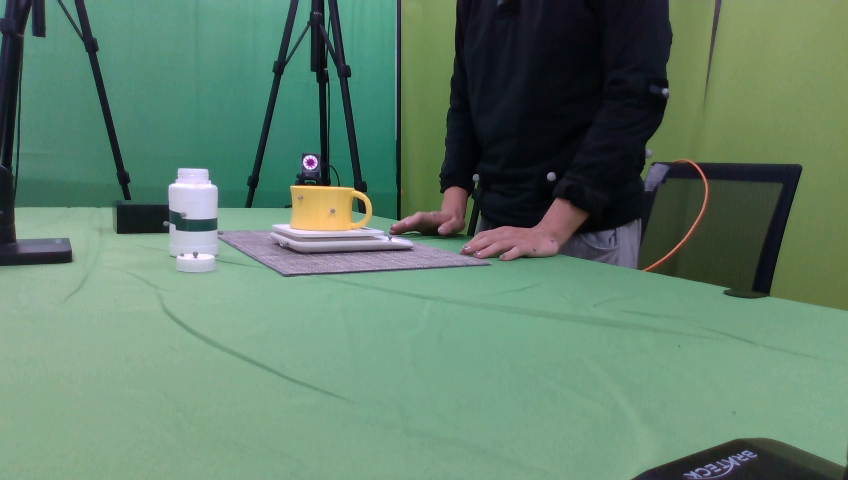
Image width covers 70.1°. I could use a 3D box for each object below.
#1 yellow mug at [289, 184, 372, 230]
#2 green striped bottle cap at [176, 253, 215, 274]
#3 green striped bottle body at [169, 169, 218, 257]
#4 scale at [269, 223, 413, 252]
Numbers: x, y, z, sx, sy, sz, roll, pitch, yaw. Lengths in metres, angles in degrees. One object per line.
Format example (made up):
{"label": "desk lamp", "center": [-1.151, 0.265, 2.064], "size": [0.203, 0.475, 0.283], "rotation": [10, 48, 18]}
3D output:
{"label": "yellow mug", "center": [-0.145, -0.052, 0.944], "size": [0.131, 0.064, 0.100], "rotation": [4, 7, 9]}
{"label": "green striped bottle cap", "center": [-0.279, 0.028, 0.741], "size": [0.044, 0.020, 0.044], "rotation": [5, 4, 0]}
{"label": "green striped bottle body", "center": [-0.318, -0.038, 0.836], "size": [0.063, 0.119, 0.063], "rotation": [2, 7, 0]}
{"label": "scale", "center": [-0.132, -0.007, 0.965], "size": [0.202, 0.031, 0.148], "rotation": [-2, 8, -31]}
